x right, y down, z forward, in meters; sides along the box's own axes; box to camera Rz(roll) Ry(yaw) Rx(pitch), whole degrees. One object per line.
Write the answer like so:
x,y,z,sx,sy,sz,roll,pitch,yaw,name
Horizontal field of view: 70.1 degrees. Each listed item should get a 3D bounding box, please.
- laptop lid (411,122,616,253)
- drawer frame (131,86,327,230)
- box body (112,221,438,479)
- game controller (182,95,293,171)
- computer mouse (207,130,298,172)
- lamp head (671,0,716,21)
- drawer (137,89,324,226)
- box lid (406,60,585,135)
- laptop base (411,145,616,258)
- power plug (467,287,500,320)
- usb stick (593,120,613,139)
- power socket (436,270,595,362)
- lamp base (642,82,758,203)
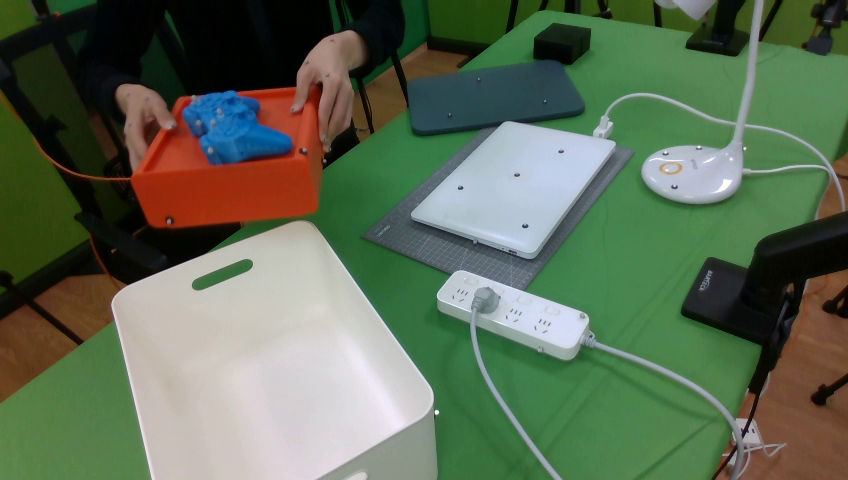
0.165,-0.111,1.067,0.240,0.013,0.357,19,46,31,laptop lid
-0.233,-0.113,0.776,0.202,0.083,0.212,-6,38,-2,drawer frame
-0.170,0.168,0.693,0.255,0.161,0.360,-24,43,-19,box body
-0.228,-0.137,0.722,0.097,0.052,0.154,-26,41,-18,game controller
-0.230,-0.121,0.814,0.117,0.041,0.062,2,35,2,computer mouse
0.375,-0.373,0.807,0.122,0.113,0.112,-40,27,32,lamp head
-0.234,-0.112,0.779,0.195,0.073,0.210,-5,39,-2,drawer
0.150,-0.320,1.340,0.372,0.015,0.261,-8,40,0,box lid
0.168,-0.102,1.073,0.234,0.023,0.355,17,45,31,laptop base
0.073,0.092,0.813,0.035,0.053,0.073,29,53,34,power plug
0.336,-0.201,1.146,0.021,0.027,0.059,25,52,27,usb stick
0.118,0.101,0.832,0.225,0.033,0.072,19,48,27,power socket
0.464,-0.174,0.992,0.179,0.181,0.159,-5,41,-1,lamp base
